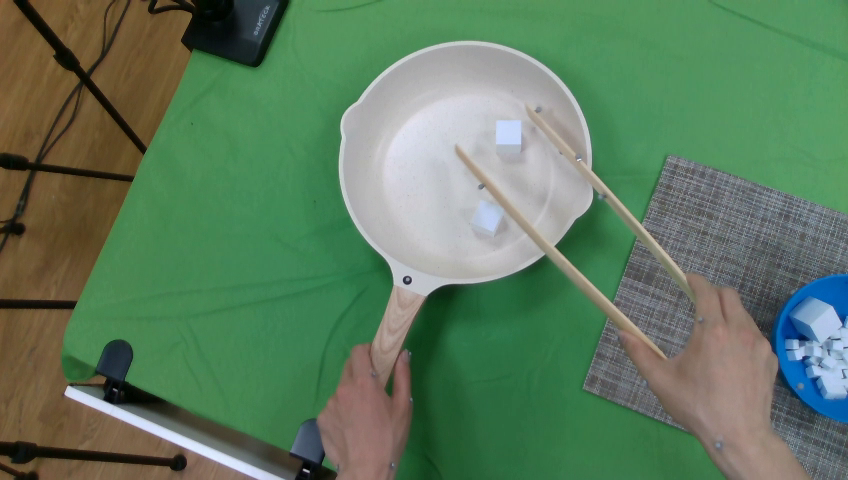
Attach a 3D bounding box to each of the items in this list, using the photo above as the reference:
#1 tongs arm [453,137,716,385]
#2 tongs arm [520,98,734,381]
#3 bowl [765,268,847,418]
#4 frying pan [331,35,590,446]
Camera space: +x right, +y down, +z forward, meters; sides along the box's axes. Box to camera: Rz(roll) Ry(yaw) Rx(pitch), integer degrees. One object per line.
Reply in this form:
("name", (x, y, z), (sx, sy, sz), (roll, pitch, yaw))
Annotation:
("tongs arm", (0.134, 0.001, 0.614), (0.028, 0.028, 0.383), (-31, 52, -10))
("tongs arm", (0.181, -0.026, 0.617), (0.051, 0.027, 0.380), (-29, 52, -4))
("bowl", (0.429, 0.109, 0.640), (0.151, 0.077, 0.150), (-1, 79, 6))
("frying pan", (0.003, -0.003, 0.695), (0.306, 0.103, 0.486), (21, 74, 10))
